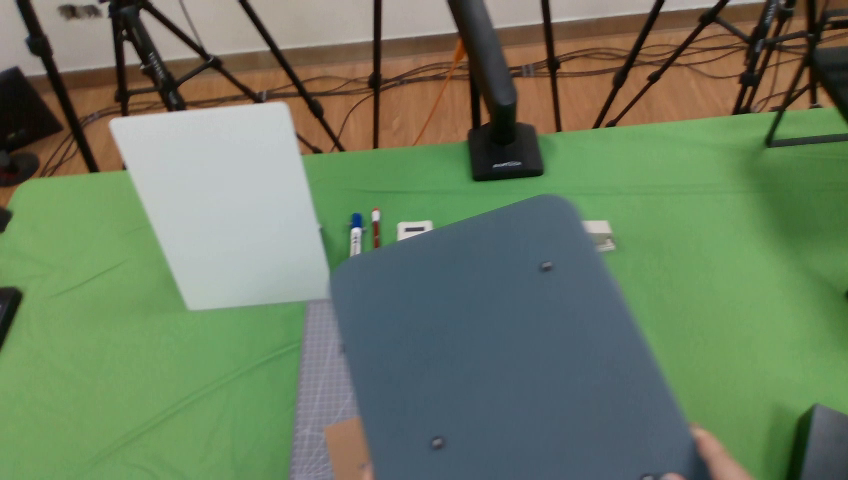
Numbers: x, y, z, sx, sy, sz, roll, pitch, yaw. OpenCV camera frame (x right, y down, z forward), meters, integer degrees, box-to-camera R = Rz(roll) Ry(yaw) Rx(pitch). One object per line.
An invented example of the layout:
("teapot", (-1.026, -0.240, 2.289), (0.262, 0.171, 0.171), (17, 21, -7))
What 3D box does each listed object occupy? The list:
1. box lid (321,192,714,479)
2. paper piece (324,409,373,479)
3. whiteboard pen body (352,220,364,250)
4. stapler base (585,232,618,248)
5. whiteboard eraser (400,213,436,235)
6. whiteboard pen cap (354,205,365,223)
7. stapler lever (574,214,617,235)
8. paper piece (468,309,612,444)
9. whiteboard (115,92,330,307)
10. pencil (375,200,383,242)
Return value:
("box lid", (0.071, 0.133, 0.534), (0.263, 0.015, 0.368), (-18, 63, -5))
("paper piece", (-0.043, 0.258, 0.734), (0.135, 0.004, 0.134), (-16, 54, -6))
("whiteboard pen body", (-0.101, 0.008, 0.921), (0.017, 0.017, 0.139), (-3, 53, 4))
("stapler base", (0.222, -0.007, 0.898), (0.130, 0.024, 0.041), (-8, 56, -3))
("whiteboard eraser", (-0.007, 0.013, 0.894), (0.055, 0.042, 0.111), (-5, 54, 3))
("whiteboard pen cap", (-0.101, -0.039, 0.955), (0.018, 0.018, 0.033), (-5, 52, 2))
("stapler lever", (0.222, -0.022, 0.879), (0.118, 0.040, 0.026), (-9, 56, -1))
("paper piece", (0.146, 0.172, 0.780), (0.136, 0.009, 0.136), (-25, 57, -8))
("whiteboard", (-0.247, -0.075, 0.855), (0.217, 0.308, 0.142), (-4, 34, 3))
("pencil", (-0.065, 0.014, 0.918), (0.012, 0.012, 0.192), (-6, 54, 1))
